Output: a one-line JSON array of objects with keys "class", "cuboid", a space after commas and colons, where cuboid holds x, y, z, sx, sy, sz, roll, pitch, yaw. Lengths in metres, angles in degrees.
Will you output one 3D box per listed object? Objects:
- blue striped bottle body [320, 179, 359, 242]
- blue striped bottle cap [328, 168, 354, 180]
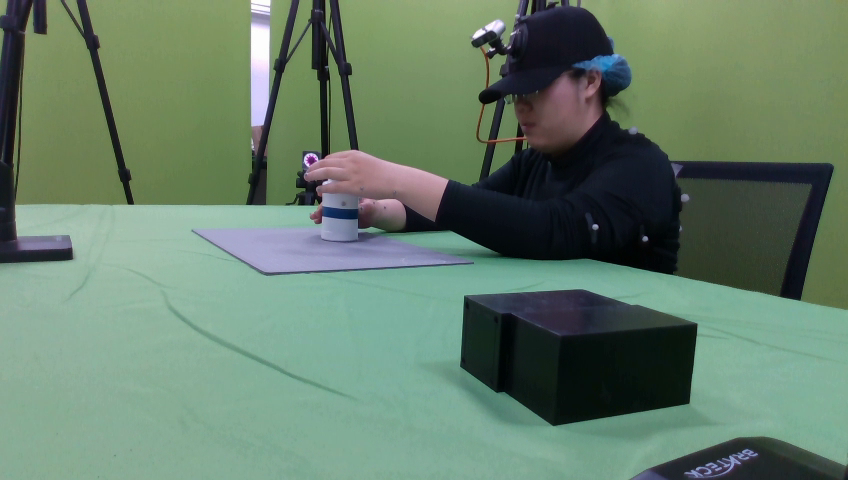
[{"class": "blue striped bottle body", "cuboid": [-0.141, -0.060, 1.020, 0.063, 0.120, 0.063, 3, 7, 0]}, {"class": "blue striped bottle cap", "cuboid": [-0.138, -0.111, 1.013, 0.044, 0.020, 0.044, 1, 7, 0]}]
